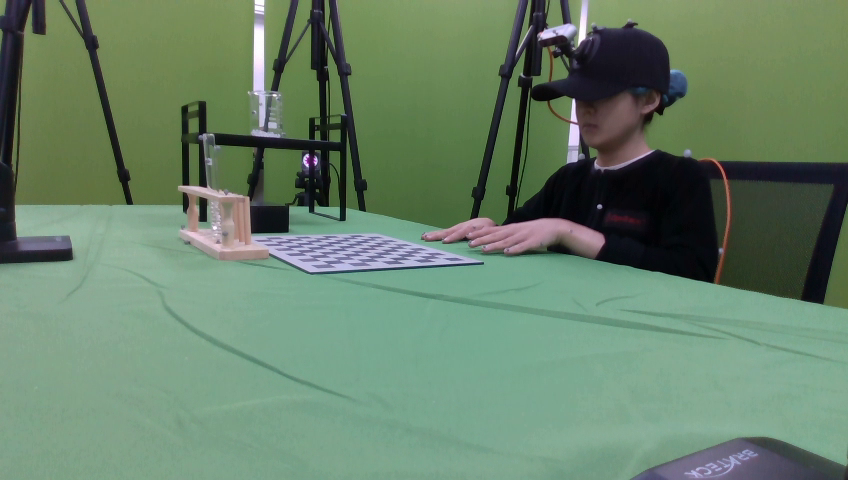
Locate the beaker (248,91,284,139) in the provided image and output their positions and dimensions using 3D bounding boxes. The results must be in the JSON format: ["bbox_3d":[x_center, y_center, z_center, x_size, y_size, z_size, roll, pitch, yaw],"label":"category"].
[{"bbox_3d":[-0.353,-0.277,1.343,0.073,0.100,0.084,8,9,39],"label":"beaker"}]

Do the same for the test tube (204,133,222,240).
[{"bbox_3d":[-0.295,-0.075,0.849,0.017,0.150,0.017,-3,6,1],"label":"test tube"}]

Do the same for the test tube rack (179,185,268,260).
[{"bbox_3d":[-0.303,-0.031,0.898,0.067,0.085,0.241,-2,9,-33],"label":"test tube rack"}]
